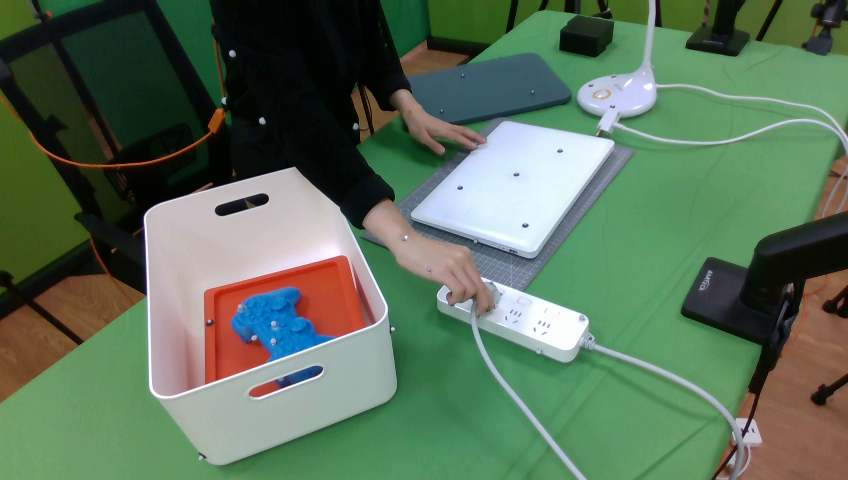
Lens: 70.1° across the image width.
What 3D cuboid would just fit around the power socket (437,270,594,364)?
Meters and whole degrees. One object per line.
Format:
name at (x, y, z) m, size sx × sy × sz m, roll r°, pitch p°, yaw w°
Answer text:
power socket at (0.118, 0.102, 0.830) m, size 0.225 × 0.033 × 0.072 m, roll 20°, pitch 48°, yaw 28°

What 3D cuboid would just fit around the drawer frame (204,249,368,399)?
drawer frame at (-0.174, 0.129, 0.791) m, size 0.202 × 0.083 × 0.212 m, roll -16°, pitch 45°, yaw -8°

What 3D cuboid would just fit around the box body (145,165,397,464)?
box body at (-0.205, 0.080, 0.802) m, size 0.255 × 0.161 × 0.361 m, roll -18°, pitch 41°, yaw -13°

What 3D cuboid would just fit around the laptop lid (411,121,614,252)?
laptop lid at (0.164, -0.112, 1.068) m, size 0.240 × 0.013 × 0.357 m, roll 19°, pitch 46°, yaw 30°

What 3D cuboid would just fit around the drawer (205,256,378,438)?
drawer at (-0.177, 0.130, 0.788) m, size 0.195 × 0.073 × 0.210 m, roll -14°, pitch 39°, yaw -9°

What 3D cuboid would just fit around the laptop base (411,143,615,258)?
laptop base at (0.167, -0.102, 1.074) m, size 0.234 × 0.023 × 0.355 m, roll 16°, pitch 45°, yaw 30°

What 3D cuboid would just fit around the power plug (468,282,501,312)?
power plug at (0.073, 0.082, 0.805) m, size 0.073 × 0.053 × 0.035 m, roll -29°, pitch 49°, yaw -32°

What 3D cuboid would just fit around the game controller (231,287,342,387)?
game controller at (-0.167, 0.110, 0.734) m, size 0.097 × 0.052 × 0.154 m, roll -35°, pitch 47°, yaw -22°

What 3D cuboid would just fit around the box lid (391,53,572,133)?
box lid at (0.123, -0.339, 1.366) m, size 0.372 × 0.015 × 0.261 m, roll -12°, pitch 40°, yaw -5°

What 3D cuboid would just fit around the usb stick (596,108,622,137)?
usb stick at (0.354, -0.223, 1.168) m, size 0.027 × 0.059 × 0.022 m, roll 37°, pitch 13°, yaw 34°

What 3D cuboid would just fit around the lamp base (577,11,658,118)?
lamp base at (0.406, -0.363, 1.222) m, size 0.180 × 0.181 × 0.159 m, roll -20°, pitch 42°, yaw -18°
